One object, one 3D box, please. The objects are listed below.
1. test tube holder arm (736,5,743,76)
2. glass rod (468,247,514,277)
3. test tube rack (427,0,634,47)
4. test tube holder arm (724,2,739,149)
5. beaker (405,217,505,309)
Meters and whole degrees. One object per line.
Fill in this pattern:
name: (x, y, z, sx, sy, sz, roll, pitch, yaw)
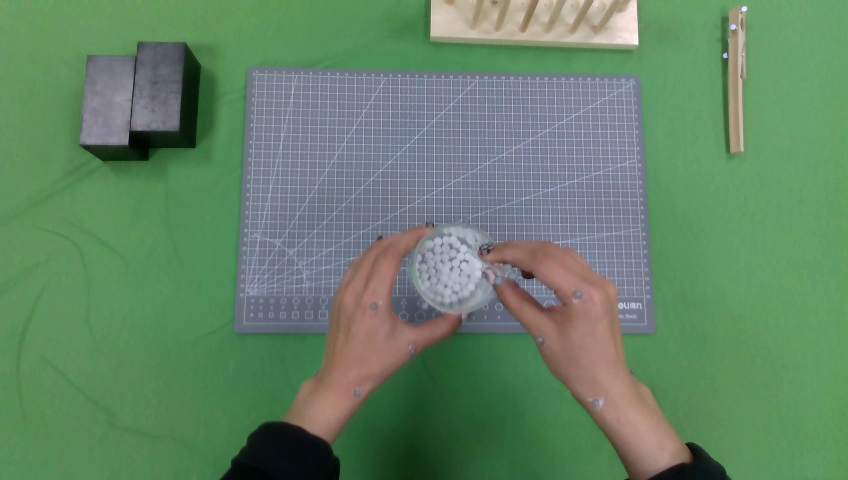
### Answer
test tube holder arm: (0.368, -0.235, 0.717, 0.010, 0.015, 0.087, 12, 78, -30)
glass rod: (0.049, 0.016, 0.477, 0.008, 0.199, 0.008, 0, 93, -3)
test tube rack: (0.126, -0.272, 0.678, 0.242, 0.085, 0.066, 1, 79, -2)
test tube holder arm: (0.359, -0.192, 0.706, 0.013, 0.015, 0.177, 12, 79, -30)
beaker: (0.023, 0.023, 0.531, 0.084, 0.100, 0.074, 20, 85, -4)
